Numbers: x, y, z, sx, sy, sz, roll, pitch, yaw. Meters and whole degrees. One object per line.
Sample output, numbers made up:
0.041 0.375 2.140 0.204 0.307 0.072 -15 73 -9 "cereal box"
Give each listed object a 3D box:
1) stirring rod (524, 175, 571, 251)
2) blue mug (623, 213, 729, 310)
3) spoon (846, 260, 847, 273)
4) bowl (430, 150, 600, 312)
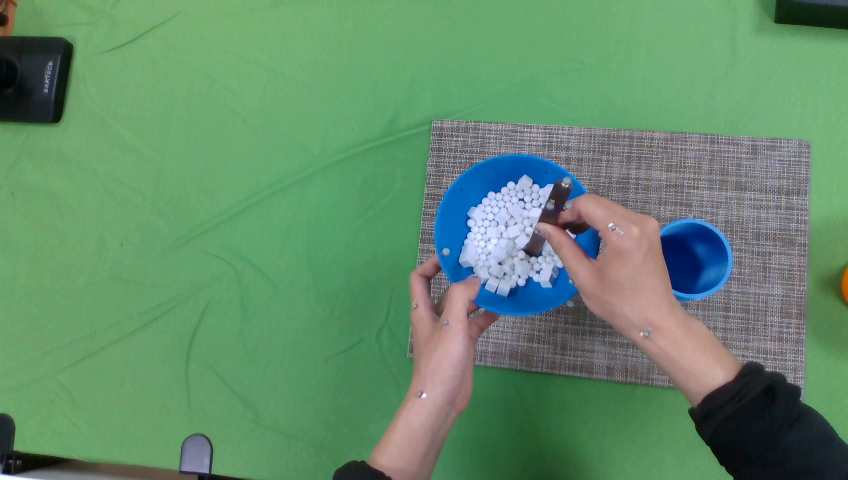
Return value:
0.101 -0.018 0.511 0.014 0.177 0.006 21 75 8 "stirring rod"
0.260 0.033 0.660 0.082 0.106 0.116 43 89 11 "blue mug"
0.534 0.046 0.609 0.022 0.192 0.041 30 84 -34 "spoon"
0.084 -0.003 0.579 0.151 0.077 0.151 0 80 3 "bowl"
